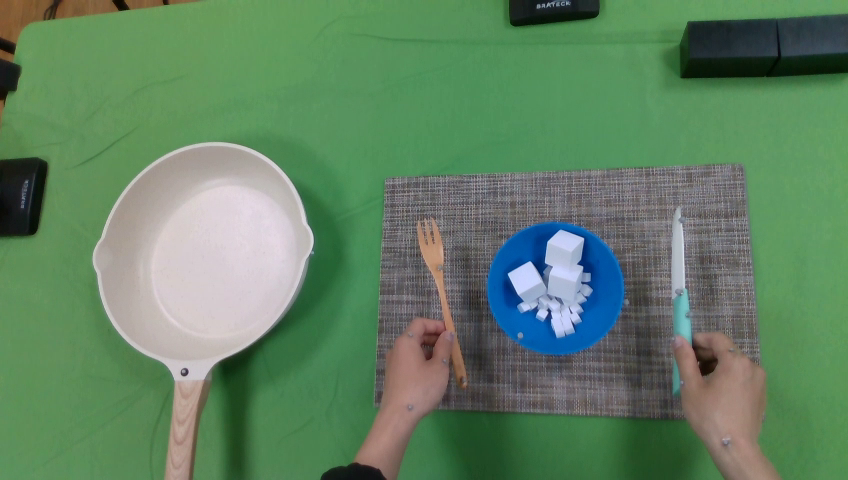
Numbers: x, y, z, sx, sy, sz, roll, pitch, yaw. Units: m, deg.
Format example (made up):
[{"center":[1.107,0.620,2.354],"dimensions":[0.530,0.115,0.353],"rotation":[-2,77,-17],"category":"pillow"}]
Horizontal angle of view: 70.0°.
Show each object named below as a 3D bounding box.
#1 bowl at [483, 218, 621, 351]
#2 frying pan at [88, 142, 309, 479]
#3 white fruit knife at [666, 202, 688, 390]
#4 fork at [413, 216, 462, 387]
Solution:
[{"center":[0.147,0.057,0.706],"dimensions":[0.151,0.077,0.150],"rotation":[-2,77,11],"category":"bowl"},{"center":[-0.290,0.113,0.766],"dimensions":[0.306,0.103,0.484],"rotation":[-3,68,11],"category":"frying pan"},{"center":[0.274,0.058,0.663],"dimensions":[0.016,0.027,0.206],"rotation":[6,77,-14],"category":"white fruit knife"},{"center":[0.018,0.070,0.718],"dimensions":[0.028,0.018,0.206],"rotation":[-9,76,-20],"category":"fork"}]
